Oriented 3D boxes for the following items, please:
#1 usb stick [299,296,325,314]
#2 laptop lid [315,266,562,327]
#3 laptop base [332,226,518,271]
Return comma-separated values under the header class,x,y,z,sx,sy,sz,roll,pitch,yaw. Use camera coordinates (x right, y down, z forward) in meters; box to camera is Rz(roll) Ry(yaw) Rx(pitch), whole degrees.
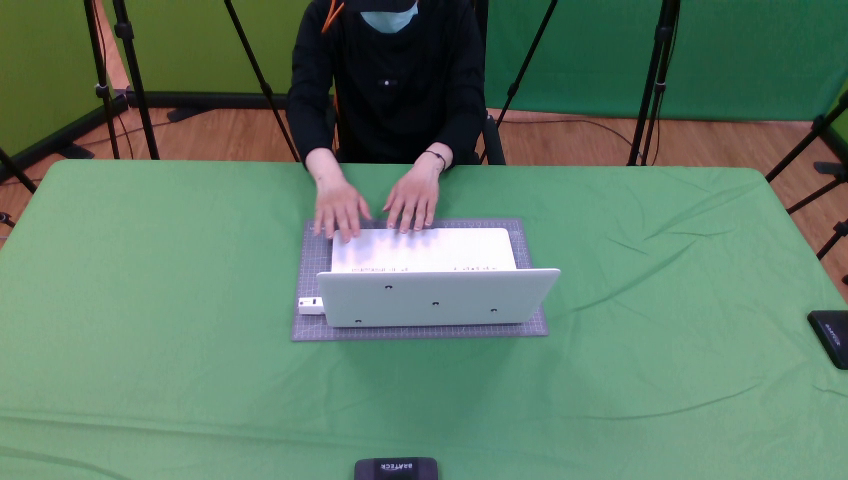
class,x,y,z,sx,sy,sz,roll,pitch,yaw
usb stick,-0.187,0.114,1.058,0.059,0.027,0.021,2,45,-4
laptop lid,0.018,0.094,0.949,0.357,0.242,0.013,0,64,-6
laptop base,0.004,0.062,1.136,0.355,0.023,0.234,-1,43,-4
